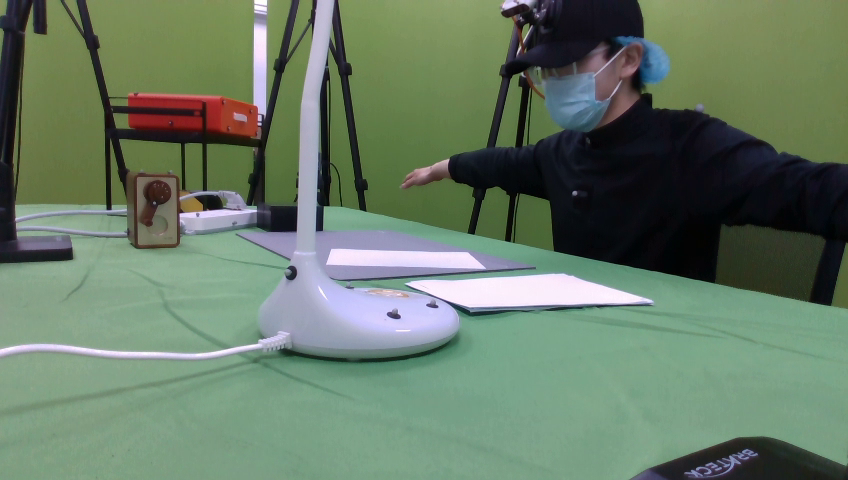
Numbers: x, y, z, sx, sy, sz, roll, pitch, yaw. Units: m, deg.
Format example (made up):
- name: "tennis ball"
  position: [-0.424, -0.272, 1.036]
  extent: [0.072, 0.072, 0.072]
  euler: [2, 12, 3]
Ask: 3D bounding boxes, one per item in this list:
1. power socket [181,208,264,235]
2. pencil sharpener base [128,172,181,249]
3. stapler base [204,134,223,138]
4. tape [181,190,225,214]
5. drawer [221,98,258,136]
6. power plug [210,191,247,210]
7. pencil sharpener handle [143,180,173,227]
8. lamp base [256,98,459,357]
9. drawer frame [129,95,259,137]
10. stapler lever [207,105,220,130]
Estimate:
- name: "power socket"
  position: [-0.381, -0.038, 1.129]
  extent: [0.072, 0.032, 0.227]
  euler: [4, 8, 17]
- name: "pencil sharpener base"
  position: [-0.395, -0.044, 0.887]
  extent: [0.062, 0.107, 0.076]
  euler: [-2, 9, -34]
- name: "stapler base"
  position: [-0.483, -0.256, 1.386]
  extent: [0.041, 0.024, 0.130]
  euler: [5, -1, -18]
- name: "tape"
  position: [-0.515, -0.087, 1.388]
  extent: [0.117, 0.052, 0.117]
  euler: [3, 7, 0]
- name: "drawer"
  position: [-0.513, -0.280, 1.382]
  extent: [0.212, 0.073, 0.194]
  euler: [3, 8, 7]
- name: "power plug"
  position: [-0.386, -0.071, 1.204]
  extent: [0.072, 0.052, 0.035]
  euler: [7, 8, 26]
- name: "pencil sharpener handle"
  position: [-0.371, -0.050, 0.840]
  extent: [0.036, 0.067, 0.030]
  euler: [23, -5, -34]
- name: "lamp base"
  position: [-0.055, -0.013, 0.463]
  extent: [0.160, 0.180, 0.180]
  euler: [6, 11, 27]
- name: "drawer frame"
  position: [-0.515, -0.281, 1.380]
  extent: [0.213, 0.082, 0.202]
  euler: [3, 8, 6]
- name: "stapler lever"
  position: [-0.483, -0.281, 1.388]
  extent: [0.027, 0.040, 0.117]
  euler: [5, -1, -18]
